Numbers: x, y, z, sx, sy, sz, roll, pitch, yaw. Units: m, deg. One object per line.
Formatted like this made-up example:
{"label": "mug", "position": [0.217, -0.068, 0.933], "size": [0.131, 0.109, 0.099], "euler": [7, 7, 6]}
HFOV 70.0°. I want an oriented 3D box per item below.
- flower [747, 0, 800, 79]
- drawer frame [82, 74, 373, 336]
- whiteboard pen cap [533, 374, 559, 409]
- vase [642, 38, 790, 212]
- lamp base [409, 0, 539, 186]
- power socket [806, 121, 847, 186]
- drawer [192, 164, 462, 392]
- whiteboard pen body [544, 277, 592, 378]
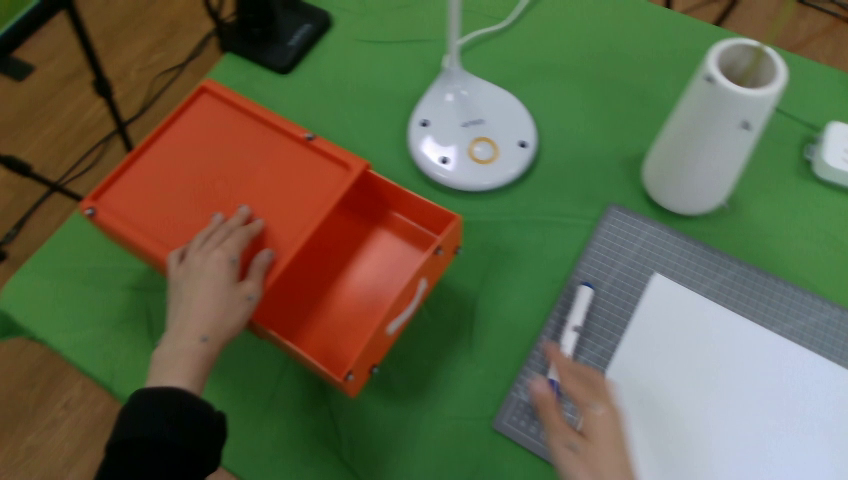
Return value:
{"label": "flower", "position": [0.310, -0.162, 0.566], "size": [0.038, 0.364, 0.043], "euler": [16, 46, 3]}
{"label": "drawer frame", "position": [-0.192, -0.042, 0.629], "size": [0.212, 0.083, 0.201], "euler": [30, 68, 14]}
{"label": "whiteboard pen cap", "position": [0.122, 0.150, 0.602], "size": [0.018, 0.018, 0.033], "euler": [21, 67, 13]}
{"label": "vase", "position": [0.298, -0.113, 0.634], "size": [0.098, 0.201, 0.097], "euler": [-1, 61, 3]}
{"label": "lamp base", "position": [0.053, -0.181, 0.687], "size": [0.161, 0.182, 0.177], "euler": [-23, 61, -10]}
{"label": "power socket", "position": [0.566, -0.075, 0.698], "size": [0.226, 0.033, 0.072], "euler": [22, 66, 12]}
{"label": "drawer", "position": [-0.099, 0.010, 0.601], "size": [0.210, 0.074, 0.194], "euler": [30, 68, 17]}
{"label": "whiteboard pen body", "position": [0.145, 0.101, 0.623], "size": [0.017, 0.017, 0.140], "euler": [21, 67, 13]}
